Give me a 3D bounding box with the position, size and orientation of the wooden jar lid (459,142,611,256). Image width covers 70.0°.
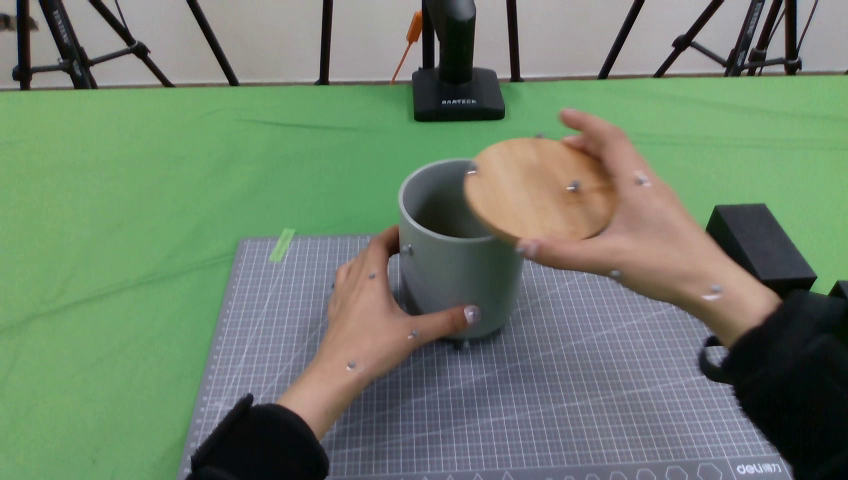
[{"bbox_3d":[0.078,-0.029,0.435,0.108,0.021,0.107,2,48,-2],"label":"wooden jar lid"}]

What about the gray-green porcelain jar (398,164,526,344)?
[{"bbox_3d":[0.032,0.017,0.512,0.106,0.127,0.105,1,42,0],"label":"gray-green porcelain jar"}]
